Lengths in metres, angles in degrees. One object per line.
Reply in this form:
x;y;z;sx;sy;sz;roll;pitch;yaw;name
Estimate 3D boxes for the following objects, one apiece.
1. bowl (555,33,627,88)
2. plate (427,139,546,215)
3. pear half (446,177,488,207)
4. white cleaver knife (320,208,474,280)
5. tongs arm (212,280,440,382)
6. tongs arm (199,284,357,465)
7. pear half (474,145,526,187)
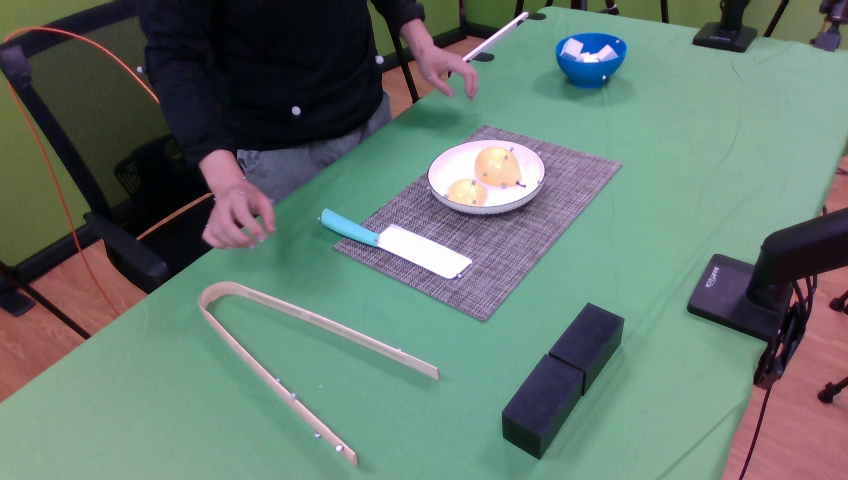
0.360;-0.384;1.318;0.151;0.077;0.150;-4;41;4;bowl
0.109;-0.107;1.058;0.207;0.039;0.206;-4;41;4;plate
0.073;-0.086;1.033;0.070;0.031;0.087;-20;37;-9;pear half
-0.052;0.000;0.977;0.284;0.021;0.066;24;43;26;white cleaver knife
-0.147;0.121;0.845;0.385;0.028;0.028;17;48;25;tongs arm
-0.199;0.162;0.797;0.381;0.026;0.051;28;50;35;tongs arm
0.140;-0.129;1.059;0.076;0.056;0.109;-37;53;-24;pear half
